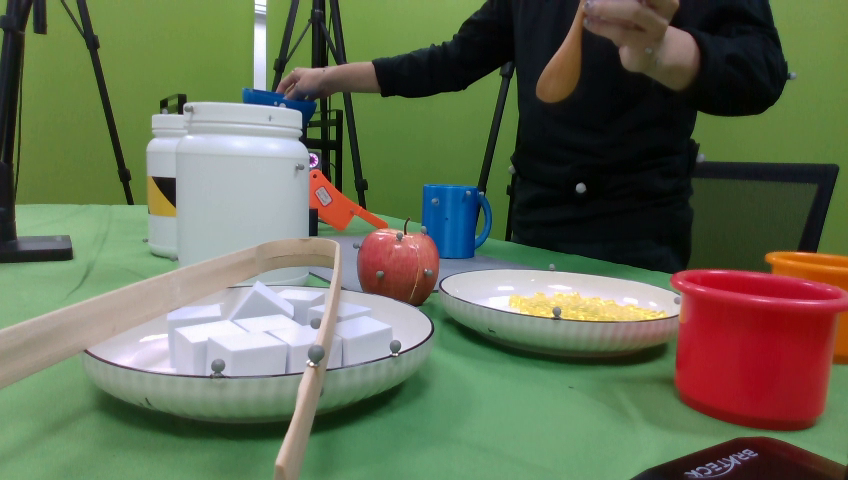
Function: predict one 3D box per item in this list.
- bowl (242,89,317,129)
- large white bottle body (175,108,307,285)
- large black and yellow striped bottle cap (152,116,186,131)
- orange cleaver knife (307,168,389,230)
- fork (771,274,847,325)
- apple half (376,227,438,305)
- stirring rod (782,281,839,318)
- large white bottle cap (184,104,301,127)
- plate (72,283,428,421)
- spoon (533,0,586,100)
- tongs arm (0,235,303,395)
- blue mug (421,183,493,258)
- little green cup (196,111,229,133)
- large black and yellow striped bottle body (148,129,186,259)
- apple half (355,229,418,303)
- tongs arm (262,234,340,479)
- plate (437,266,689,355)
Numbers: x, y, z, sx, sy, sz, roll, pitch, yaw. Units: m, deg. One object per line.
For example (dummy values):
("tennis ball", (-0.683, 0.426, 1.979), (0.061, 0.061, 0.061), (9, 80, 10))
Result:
("bowl", (-0.302, -0.260, 1.250), (0.151, 0.077, 0.151), (11, 14, -2))
("large white bottle body", (-0.188, -0.042, 0.630), (0.131, 0.184, 0.130), (2, 8, 0))
("large black and yellow striped bottle cap", (-0.309, -0.155, 0.826), (0.115, 0.019, 0.115), (3, 6, 0))
("orange cleaver knife", (-0.158, -0.060, 1.166), (0.212, 0.077, 0.012), (34, -12, -32))
("fork", (0.332, 0.018, 0.442), (0.028, 0.018, 0.207), (1, -36, -14))
("apple half", (-0.017, 0.025, 0.593), (0.080, 0.074, 0.053), (4, 3, 43))
("stirring rod", (0.344, 0.019, 0.460), (0.014, 0.006, 0.176), (-14, -27, -30))
("large white bottle cap", (-0.184, -0.126, 0.618), (0.115, 0.018, 0.115), (2, 8, 0))
("plate", (-0.102, 0.066, 0.381), (0.208, 0.039, 0.207), (2, 7, 0))
("spoon", (0.149, -0.223, 0.576), (0.042, 0.193, 0.021), (9, 28, -14))
("tongs arm", (-0.157, 0.038, 0.351), (0.028, 0.028, 0.388), (-3, 9, 12))
("blue mug", (0.052, -0.032, 0.912), (0.117, 0.106, 0.082), (-1, 8, -24))
("little green cup", (-0.403, -0.225, 1.154), (0.061, 0.038, 0.061), (3, 8, 0))
("large black and yellow striped bottle body", (-0.310, -0.073, 0.838), (0.131, 0.184, 0.130), (2, 8, 0))
("apple half", (-0.044, 0.027, 0.564), (0.081, 0.081, 0.033), (9, 5, 42))
("tongs arm", (-0.074, 0.039, 0.349), (0.051, 0.026, 0.384), (-2, 10, -3))
("plate", (0.114, 0.057, 0.517), (0.209, 0.038, 0.209), (3, 7, 0))
